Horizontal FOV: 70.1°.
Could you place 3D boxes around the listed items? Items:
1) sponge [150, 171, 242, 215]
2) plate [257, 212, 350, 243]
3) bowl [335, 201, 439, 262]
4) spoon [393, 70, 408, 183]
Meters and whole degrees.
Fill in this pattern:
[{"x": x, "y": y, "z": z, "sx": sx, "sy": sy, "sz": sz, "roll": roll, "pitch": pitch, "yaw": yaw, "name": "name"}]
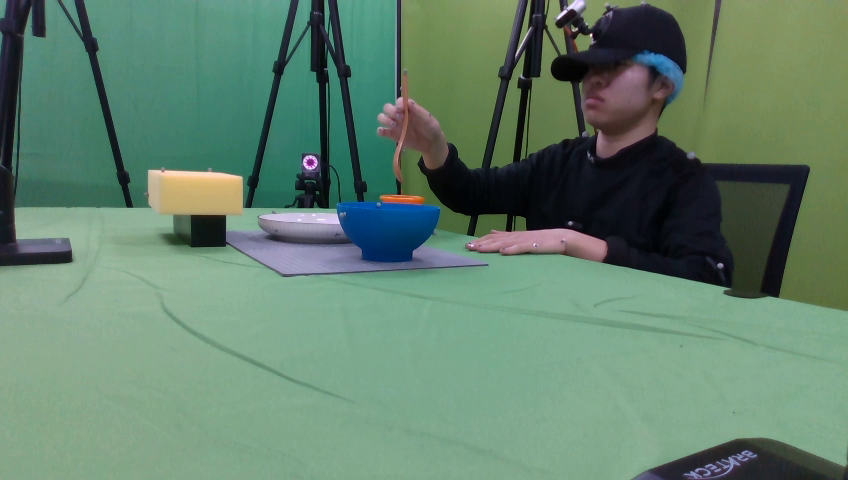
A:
[{"x": -0.379, "y": -0.079, "z": 0.994, "sx": 0.119, "sy": 0.061, "sz": 0.206, "roll": -1, "pitch": 8, "yaw": -29, "name": "sponge"}, {"x": -0.189, "y": -0.023, "z": 1.072, "sx": 0.209, "sy": 0.038, "sz": 0.209, "roll": 3, "pitch": 7, "yaw": 0, "name": "plate"}, {"x": -0.054, "y": -0.012, "z": 0.871, "sx": 0.151, "sy": 0.077, "sz": 0.151, "roll": 3, "pitch": 8, "yaw": 0, "name": "bowl"}, {"x": -0.036, "y": -0.196, "z": 1.045, "sx": 0.021, "sy": 0.193, "sz": 0.041, "roll": 6, "pitch": 0, "yaw": 5, "name": "spoon"}]
